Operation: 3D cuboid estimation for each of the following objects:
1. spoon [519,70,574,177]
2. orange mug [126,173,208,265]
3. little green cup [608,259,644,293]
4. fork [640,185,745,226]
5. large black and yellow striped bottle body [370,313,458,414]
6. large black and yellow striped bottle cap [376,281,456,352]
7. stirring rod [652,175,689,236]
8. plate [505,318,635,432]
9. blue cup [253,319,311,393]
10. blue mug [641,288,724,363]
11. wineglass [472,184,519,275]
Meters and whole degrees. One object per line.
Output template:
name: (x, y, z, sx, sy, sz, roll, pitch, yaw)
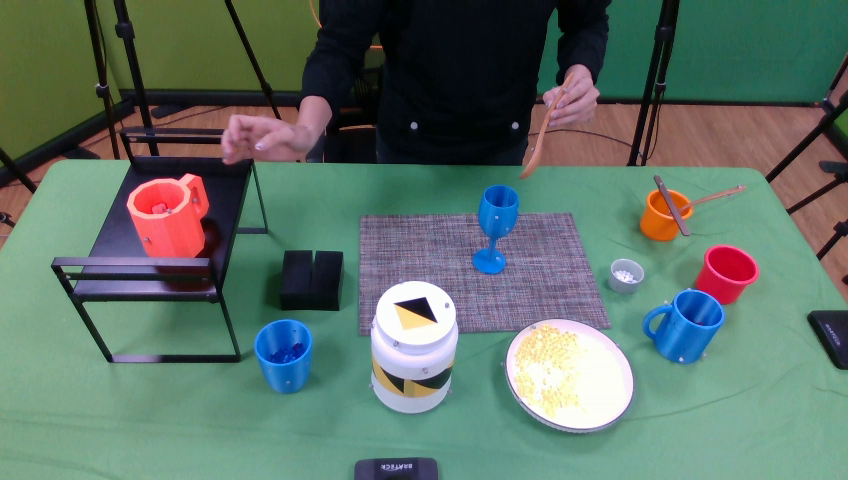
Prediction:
spoon: (0.205, -0.192, 1.018, 0.021, 0.194, 0.042, 27, 20, 23)
orange mug: (-0.371, -0.039, 0.902, 0.083, 0.101, 0.126, 18, 51, 14)
little green cup: (0.379, 0.070, 1.147, 0.061, 0.039, 0.061, 3, 45, -2)
fork: (0.534, -0.069, 1.215, 0.207, 0.019, 0.028, -26, 26, 33)
large black and yellow striped bottle body: (-0.017, 0.165, 0.924, 0.131, 0.185, 0.130, 2, 46, -2)
large black and yellow striped bottle cap: (-0.011, 0.107, 0.863, 0.115, 0.019, 0.114, 2, 47, -2)
stirring rod: (0.491, -0.072, 1.211, 0.014, 0.006, 0.175, -1, 47, -6)
plate: (0.235, 0.221, 0.991, 0.209, 0.038, 0.208, 2, 45, -2)
blue cup: (-0.217, 0.187, 0.943, 0.093, 0.101, 0.092, 3, 45, -3)
blue mug: (0.432, 0.144, 1.033, 0.116, 0.106, 0.082, 8, 46, 5)
wineglass: (0.129, -0.018, 1.113, 0.074, 0.173, 0.073, 2, 46, -2)
